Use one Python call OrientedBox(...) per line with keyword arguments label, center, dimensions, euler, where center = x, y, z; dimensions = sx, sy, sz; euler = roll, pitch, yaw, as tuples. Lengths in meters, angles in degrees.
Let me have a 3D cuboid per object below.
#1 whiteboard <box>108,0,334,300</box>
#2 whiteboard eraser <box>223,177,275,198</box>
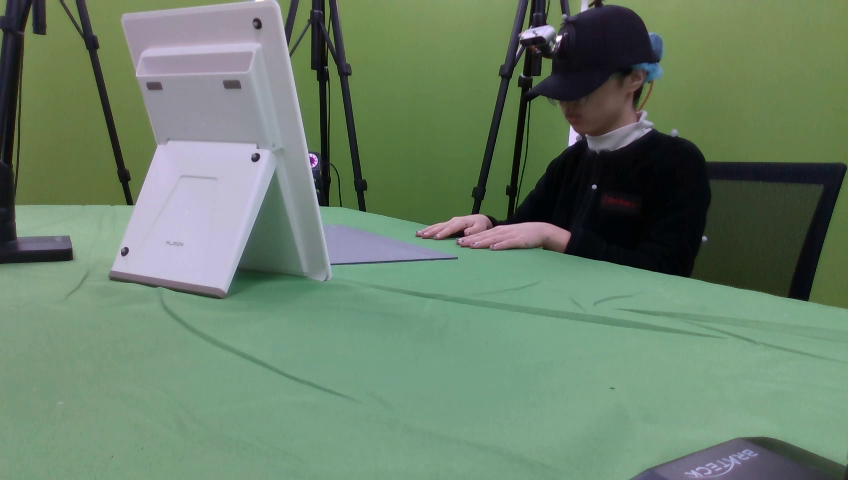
OrientedBox(label="whiteboard", center=(-0.247, -0.072, 0.624), dimensions=(0.216, 0.305, 0.144), euler=(6, 28, 26))
OrientedBox(label="whiteboard eraser", center=(-0.377, -0.113, 1.308), dimensions=(0.055, 0.042, 0.113), euler=(7, 11, 20))
